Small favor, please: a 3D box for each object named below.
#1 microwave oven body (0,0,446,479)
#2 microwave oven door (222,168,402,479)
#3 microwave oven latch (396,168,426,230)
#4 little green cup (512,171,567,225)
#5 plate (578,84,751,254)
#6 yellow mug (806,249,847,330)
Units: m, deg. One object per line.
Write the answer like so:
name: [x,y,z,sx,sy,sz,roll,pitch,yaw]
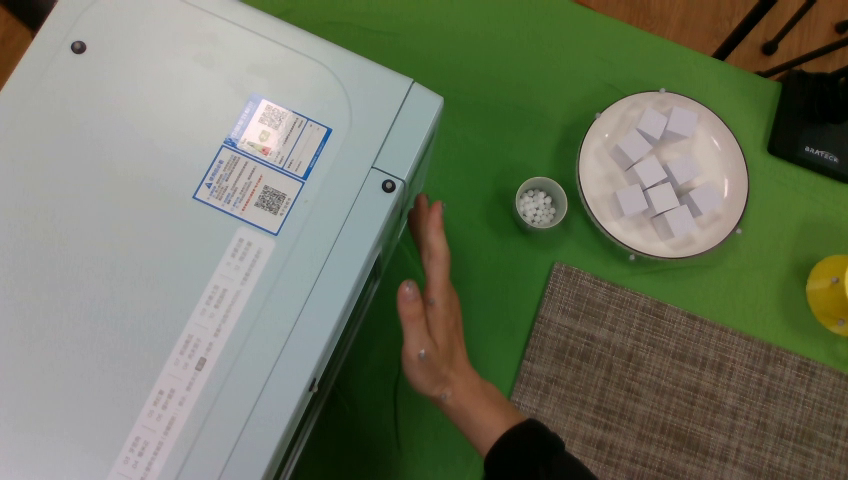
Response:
microwave oven body: [-0.225,0.027,0.547,0.326,0.260,0.440,24,79,0]
microwave oven door: [-0.110,0.125,0.534,0.039,0.244,0.354,24,78,1]
microwave oven latch: [-0.025,-0.051,0.676,0.030,0.029,0.079,27,79,0]
little green cup: [0.132,-0.046,0.706,0.061,0.039,0.061,1,81,-5]
plate: [0.283,-0.083,0.728,0.208,0.039,0.207,1,80,-4]
yellow mug: [0.516,0.070,0.705,0.100,0.064,0.130,-7,81,-6]
